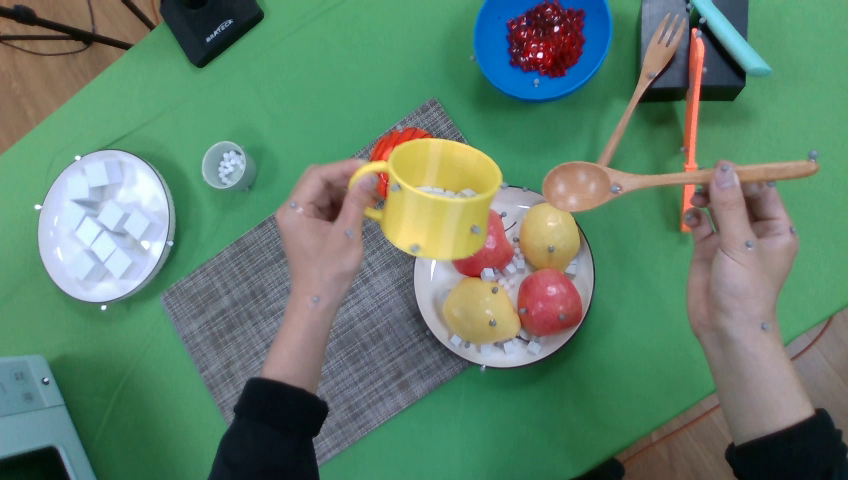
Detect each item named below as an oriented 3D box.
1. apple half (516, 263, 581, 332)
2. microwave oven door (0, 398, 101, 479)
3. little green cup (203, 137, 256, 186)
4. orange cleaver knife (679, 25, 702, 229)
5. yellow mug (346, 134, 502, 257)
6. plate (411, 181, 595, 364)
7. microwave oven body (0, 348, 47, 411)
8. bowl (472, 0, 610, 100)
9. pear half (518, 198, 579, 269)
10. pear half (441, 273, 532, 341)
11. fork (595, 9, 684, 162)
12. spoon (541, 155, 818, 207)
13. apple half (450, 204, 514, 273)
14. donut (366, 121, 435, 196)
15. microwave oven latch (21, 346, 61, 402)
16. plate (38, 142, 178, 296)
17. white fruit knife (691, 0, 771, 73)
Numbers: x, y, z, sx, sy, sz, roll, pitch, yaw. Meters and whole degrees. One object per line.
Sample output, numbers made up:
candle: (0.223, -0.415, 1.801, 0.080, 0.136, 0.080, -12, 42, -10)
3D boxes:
apple half: (0.130, 0.066, 0.669, 0.081, 0.033, 0.081, 3, 97, 33)
microwave oven door: (-0.432, 0.356, 0.667, 0.039, 0.245, 0.354, -32, 79, 8)
little green cup: (-0.251, -0.100, 0.791, 0.061, 0.039, 0.061, -1, 84, 13)
orange cleaver knife: (0.285, -0.119, 0.650, 0.012, 0.077, 0.212, 2, 111, 18)
yellow mug: (-0.002, -0.042, 0.530, 0.131, 0.099, 0.064, 5, 128, -8)
plate: (0.090, 0.037, 0.699, 0.208, 0.038, 0.208, -1, 85, 12)
microwave oven body: (-0.575, 0.397, 0.700, 0.326, 0.261, 0.439, -32, 80, 7)
bowl: (0.134, -0.226, 0.696, 0.151, 0.077, 0.151, -1, 85, 12)
pear half: (0.135, -0.003, 0.678, 0.070, 0.031, 0.088, -5, 93, 36)
pear half: (0.074, 0.084, 0.684, 0.109, 0.056, 0.076, 29, 96, 10)
fork: (0.224, -0.147, 0.664, 0.028, 0.018, 0.208, 24, 111, 5)
spoon: (0.185, -0.049, 0.459, 0.193, 0.022, 0.041, -1, 92, 28)
apple half: (0.059, -0.003, 0.691, 0.074, 0.053, 0.080, -17, 84, 12)
donut: (-0.022, -0.095, 0.732, 0.099, 0.048, 0.099, -1, 87, 15)
microwave oven latch: (-0.516, 0.180, 0.806, 0.030, 0.029, 0.079, -29, 80, 8)
plate: (-0.423, -0.027, 0.823, 0.207, 0.039, 0.207, -1, 85, 13)
white fruit knife: (0.294, -0.257, 0.644, 0.027, 0.016, 0.206, -27, 76, -20)
